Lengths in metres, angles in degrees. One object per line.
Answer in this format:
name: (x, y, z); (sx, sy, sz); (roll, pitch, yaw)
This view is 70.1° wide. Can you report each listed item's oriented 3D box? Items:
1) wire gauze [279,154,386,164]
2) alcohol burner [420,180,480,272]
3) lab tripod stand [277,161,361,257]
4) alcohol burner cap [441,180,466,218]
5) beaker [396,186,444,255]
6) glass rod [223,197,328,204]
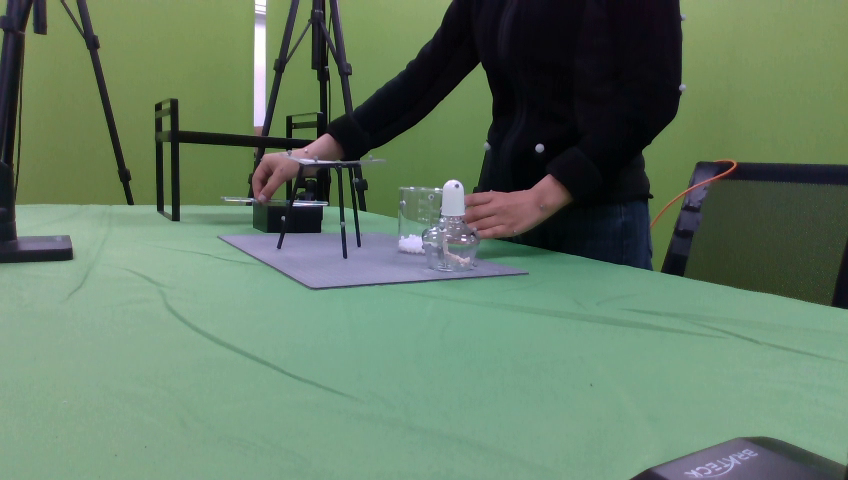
wire gauze: (-0.134, -0.114, 0.875); (0.122, 0.011, 0.124); (-1, 9, -30)
alcohol burner: (0.035, -0.018, 0.785); (0.078, 0.119, 0.078); (4, 6, 0)
lab tripod stand: (-0.143, -0.049, 0.884); (0.148, 0.131, 0.148); (1, 9, 0)
alcohol burner cap: (0.038, -0.053, 0.781); (0.034, 0.048, 0.034); (0, 12, 0)
beaker: (-0.003, -0.030, 0.920); (0.083, 0.100, 0.074); (7, 9, 31)
glass rod: (-0.274, -0.073, 1.136); (0.201, 0.008, 0.008); (1, 7, -32)
